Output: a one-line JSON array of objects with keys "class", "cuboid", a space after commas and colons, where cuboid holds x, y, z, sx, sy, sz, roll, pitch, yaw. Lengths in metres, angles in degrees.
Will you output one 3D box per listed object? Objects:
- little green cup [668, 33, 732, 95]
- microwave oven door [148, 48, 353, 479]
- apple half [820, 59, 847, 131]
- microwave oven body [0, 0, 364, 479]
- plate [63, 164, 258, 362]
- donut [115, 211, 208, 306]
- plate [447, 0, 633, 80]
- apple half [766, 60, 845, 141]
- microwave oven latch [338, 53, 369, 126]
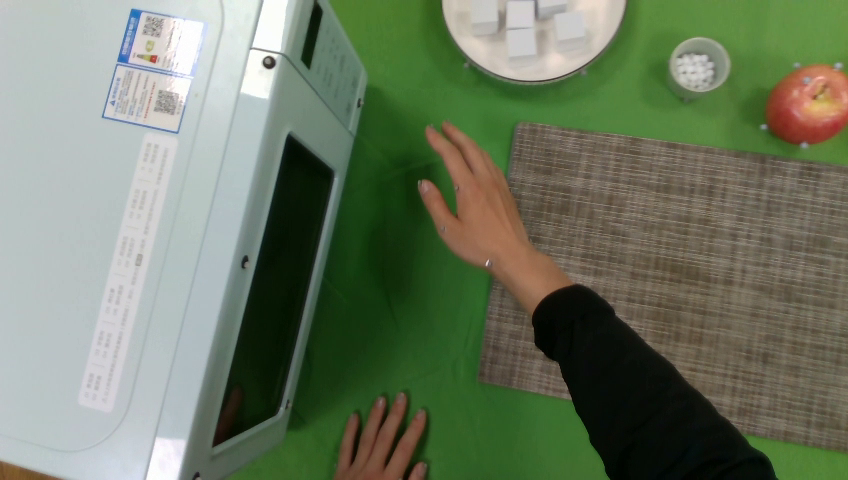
[{"class": "little green cup", "cuboid": [0.300, -0.190, 0.665, 0.061, 0.039, 0.061, -1, 85, 6]}, {"class": "microwave oven door", "cuboid": [-0.148, 0.033, 0.574, 0.039, 0.244, 0.355, 12, 87, 7]}, {"class": "apple half", "cuboid": [0.428, -0.152, 0.631, 0.033, 0.081, 0.081, -17, 83, 9]}, {"class": "microwave oven body", "cuboid": [-0.279, -0.040, 0.598, 0.325, 0.261, 0.441, 13, 88, 6]}, {"class": "plate", "cuboid": [-0.275, 0.024, 0.645, 0.209, 0.038, 0.208, 0, 86, 6]}, {"class": "donut", "cuboid": [-0.273, 0.020, 0.631, 0.099, 0.048, 0.099, 0, 87, 7]}, {"class": "plate", "cuboid": [0.130, -0.280, 0.689, 0.207, 0.039, 0.207, 0, 85, 6]}, {"class": "apple half", "cuboid": [0.391, -0.140, 0.635, 0.053, 0.075, 0.080, -17, 88, 9]}, {"class": "microwave oven latch", "cuboid": [-0.084, -0.172, 0.685, 0.030, 0.029, 0.079, 15, 88, 7]}]
